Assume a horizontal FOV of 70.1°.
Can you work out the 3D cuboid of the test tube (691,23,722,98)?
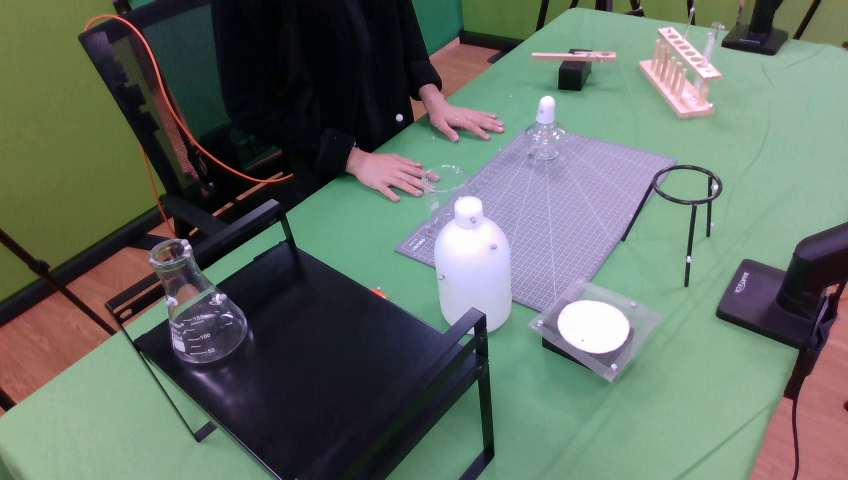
[{"bbox_3d":[0.547,-0.345,1.173,0.017,0.151,0.017,0,42,0],"label":"test tube"}]

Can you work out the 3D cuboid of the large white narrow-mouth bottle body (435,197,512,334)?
[{"bbox_3d":[0.066,0.028,0.805,0.102,0.195,0.101,-4,40,4],"label":"large white narrow-mouth bottle body"}]

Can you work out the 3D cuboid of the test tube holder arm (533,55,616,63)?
[{"bbox_3d":[0.329,-0.398,1.327,0.178,0.015,0.013,5,51,15],"label":"test tube holder arm"}]

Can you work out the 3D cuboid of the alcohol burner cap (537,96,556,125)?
[{"bbox_3d":[0.223,-0.237,1.095,0.034,0.048,0.033,0,42,1],"label":"alcohol burner cap"}]

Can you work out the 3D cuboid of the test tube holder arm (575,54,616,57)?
[{"bbox_3d":[0.373,-0.398,1.318,0.087,0.015,0.010,5,51,16],"label":"test tube holder arm"}]

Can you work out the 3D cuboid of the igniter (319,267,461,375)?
[{"bbox_3d":[-0.060,0.108,0.862,0.274,0.025,0.057,29,63,34],"label":"igniter"}]

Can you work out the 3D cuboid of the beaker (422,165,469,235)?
[{"bbox_3d":[0.041,-0.063,0.986,0.073,0.101,0.084,20,47,29],"label":"beaker"}]

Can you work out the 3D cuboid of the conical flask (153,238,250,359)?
[{"bbox_3d":[-0.225,0.055,0.597,0.075,0.122,0.075,-5,41,4],"label":"conical flask"}]

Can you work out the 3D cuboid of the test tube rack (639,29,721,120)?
[{"bbox_3d":[0.527,-0.351,1.262,0.067,0.085,0.241,-8,40,1],"label":"test tube rack"}]

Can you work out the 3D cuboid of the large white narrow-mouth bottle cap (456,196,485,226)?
[{"bbox_3d":[0.057,-0.036,0.749,0.038,0.024,0.037,-4,40,4],"label":"large white narrow-mouth bottle cap"}]

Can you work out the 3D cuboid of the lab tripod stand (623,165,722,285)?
[{"bbox_3d":[0.365,-0.030,0.875,0.148,0.132,0.147,-6,41,6],"label":"lab tripod stand"}]

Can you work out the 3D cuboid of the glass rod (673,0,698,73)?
[{"bbox_3d":[0.537,-0.424,1.244,0.008,0.200,0.008,0,47,0],"label":"glass rod"}]

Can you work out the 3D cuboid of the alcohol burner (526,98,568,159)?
[{"bbox_3d":[0.228,-0.210,1.118,0.078,0.119,0.077,-5,43,5],"label":"alcohol burner"}]

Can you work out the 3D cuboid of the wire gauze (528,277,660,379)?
[{"bbox_3d":[0.213,0.103,0.763,0.124,0.011,0.122,30,52,35],"label":"wire gauze"}]
